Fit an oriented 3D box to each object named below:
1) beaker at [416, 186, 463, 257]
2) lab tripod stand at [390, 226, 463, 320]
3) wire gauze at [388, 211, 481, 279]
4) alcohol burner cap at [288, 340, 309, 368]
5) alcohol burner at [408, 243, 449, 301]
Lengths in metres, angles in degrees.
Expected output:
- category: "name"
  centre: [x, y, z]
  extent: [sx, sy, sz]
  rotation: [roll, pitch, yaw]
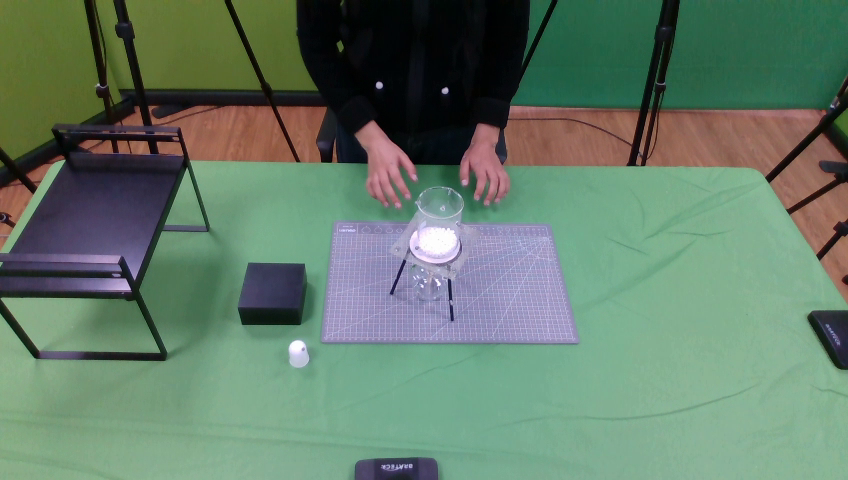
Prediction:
- category: "beaker"
  centre: [0.024, -0.029, 0.984]
  extent: [0.074, 0.101, 0.083]
  rotation: [19, 49, 14]
- category: "lab tripod stand"
  centre: [0.014, 0.053, 1.063]
  extent: [0.148, 0.132, 0.147]
  rotation: [1, 48, -1]
- category: "wire gauze"
  centre: [0.018, 0.003, 1.020]
  extent: [0.125, 0.011, 0.121]
  rotation: [20, 47, 18]
- category: "alcohol burner cap"
  centre: [-0.207, 0.183, 0.991]
  extent: [0.034, 0.048, 0.033]
  rotation: [3, 47, -3]
- category: "alcohol burner"
  centre: [0.010, 0.052, 1.078]
  extent: [0.078, 0.120, 0.077]
  rotation: [1, 45, -1]
